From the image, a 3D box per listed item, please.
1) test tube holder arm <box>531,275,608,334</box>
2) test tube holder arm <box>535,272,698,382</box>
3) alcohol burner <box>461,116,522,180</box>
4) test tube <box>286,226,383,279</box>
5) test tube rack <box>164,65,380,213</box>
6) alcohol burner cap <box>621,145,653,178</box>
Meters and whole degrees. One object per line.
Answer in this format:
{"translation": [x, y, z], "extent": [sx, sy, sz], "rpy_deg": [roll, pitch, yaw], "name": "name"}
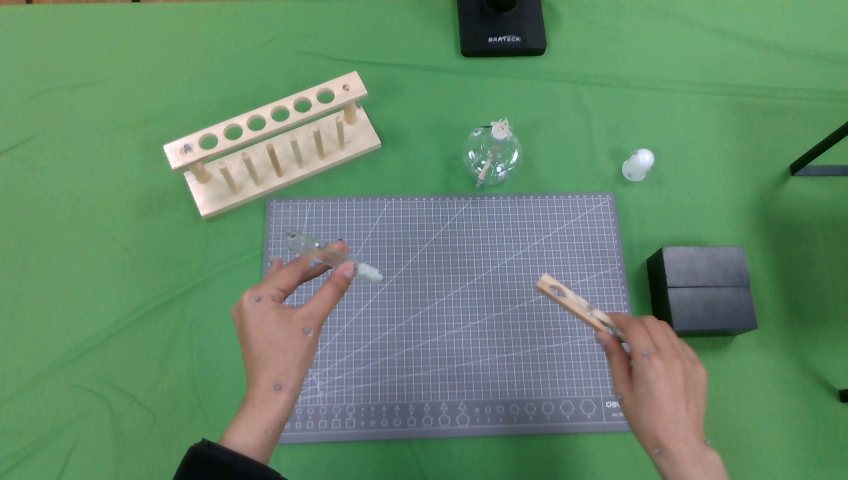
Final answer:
{"translation": [0.145, 0.064, 0.598], "extent": [0.087, 0.015, 0.010], "rpy_deg": [34, 81, 10], "name": "test tube holder arm"}
{"translation": [0.185, 0.084, 0.591], "extent": [0.178, 0.015, 0.013], "rpy_deg": [32, 80, 10], "name": "test tube holder arm"}
{"translation": [0.086, -0.121, 0.747], "extent": [0.078, 0.119, 0.077], "rpy_deg": [1, 73, -3], "name": "alcohol burner"}
{"translation": [-0.071, 0.014, 0.518], "extent": [0.017, 0.151, 0.017], "rpy_deg": [-5, 75, 20], "name": "test tube"}
{"translation": [-0.179, -0.123, 0.748], "extent": [0.242, 0.085, 0.066], "rpy_deg": [-24, 74, -10], "name": "test tube rack"}
{"translation": [0.279, -0.104, 0.788], "extent": [0.034, 0.048, 0.033], "rpy_deg": [0, 71, -1], "name": "alcohol burner cap"}
